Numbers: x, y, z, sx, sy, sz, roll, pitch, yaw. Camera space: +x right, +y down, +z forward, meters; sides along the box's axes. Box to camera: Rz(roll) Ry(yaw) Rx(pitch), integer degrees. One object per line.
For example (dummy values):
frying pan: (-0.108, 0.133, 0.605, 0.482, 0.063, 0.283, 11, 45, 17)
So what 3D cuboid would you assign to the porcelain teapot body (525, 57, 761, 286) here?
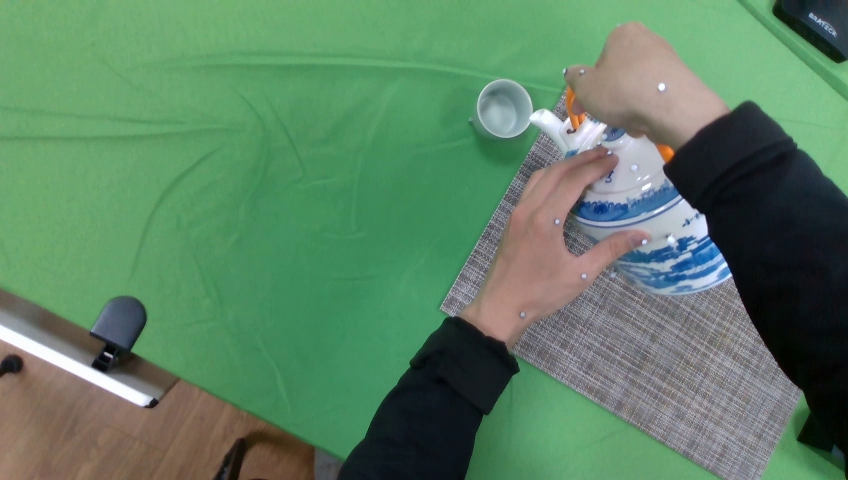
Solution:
porcelain teapot body: (0.173, -0.075, 0.549, 0.228, 0.203, 0.145, 38, 88, -37)

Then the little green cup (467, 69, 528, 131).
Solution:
little green cup: (0.076, -0.146, 0.647, 0.062, 0.038, 0.061, 0, 89, -13)

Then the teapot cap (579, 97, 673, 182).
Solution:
teapot cap: (0.164, -0.086, 0.501, 0.044, 0.084, 0.085, 40, 81, -34)
